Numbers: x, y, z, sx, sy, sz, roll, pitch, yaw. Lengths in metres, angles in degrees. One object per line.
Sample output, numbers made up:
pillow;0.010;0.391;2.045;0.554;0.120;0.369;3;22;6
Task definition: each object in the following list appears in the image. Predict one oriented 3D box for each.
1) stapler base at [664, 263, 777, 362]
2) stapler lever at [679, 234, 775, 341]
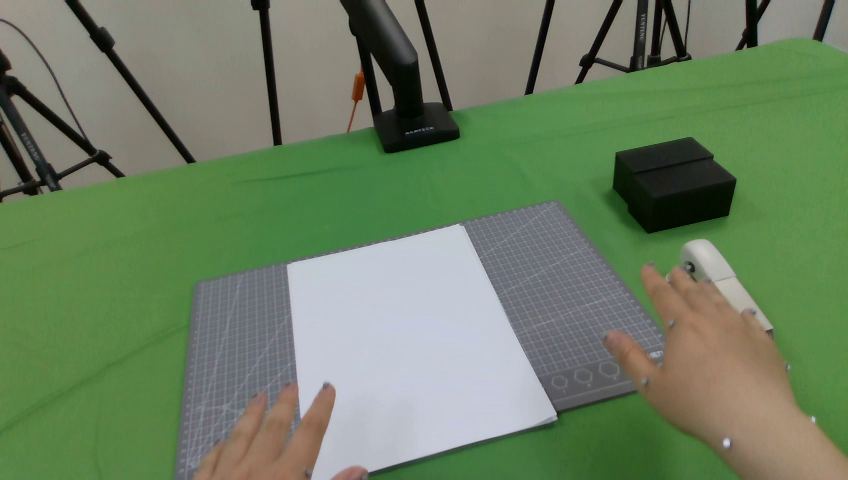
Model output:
stapler base;0.279;0.058;0.577;0.041;0.025;0.129;-15;40;-6
stapler lever;0.277;0.040;0.560;0.027;0.040;0.116;-15;40;-6
